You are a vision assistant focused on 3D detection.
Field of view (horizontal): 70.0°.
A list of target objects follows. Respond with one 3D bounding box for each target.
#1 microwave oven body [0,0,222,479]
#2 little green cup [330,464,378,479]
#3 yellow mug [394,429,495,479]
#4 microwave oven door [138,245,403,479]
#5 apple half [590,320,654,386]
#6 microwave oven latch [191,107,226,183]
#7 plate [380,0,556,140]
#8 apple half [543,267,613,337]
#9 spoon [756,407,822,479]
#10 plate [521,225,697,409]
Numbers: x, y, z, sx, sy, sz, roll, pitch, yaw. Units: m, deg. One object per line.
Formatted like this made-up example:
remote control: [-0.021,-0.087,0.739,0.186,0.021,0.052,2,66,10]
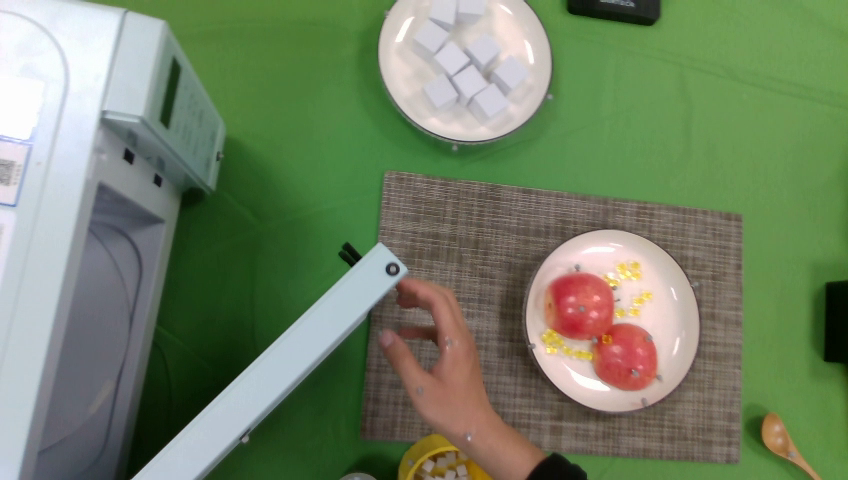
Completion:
microwave oven body: [-0.392,0.032,0.510,0.327,0.260,0.440,10,82,-7]
little green cup: [-0.075,0.267,0.641,0.062,0.038,0.061,1,81,-8]
yellow mug: [0.016,0.271,0.638,0.100,0.064,0.130,18,84,-6]
microwave oven door: [-0.162,0.146,0.523,0.039,0.244,0.355,45,79,1]
apple half: [0.230,0.129,0.691,0.081,0.033,0.081,1,80,-7]
microwave oven latch: [-0.233,-0.104,0.648,0.030,0.029,0.079,11,82,-7]
plate: [0.051,-0.216,0.721,0.208,0.039,0.207,1,82,-8]
apple half: [0.176,0.069,0.681,0.075,0.053,0.080,4,83,-5]
spoon: [0.458,0.278,0.721,0.041,0.021,0.193,-41,89,-29]
plate: [0.209,0.087,0.700,0.209,0.038,0.208,1,83,-8]
